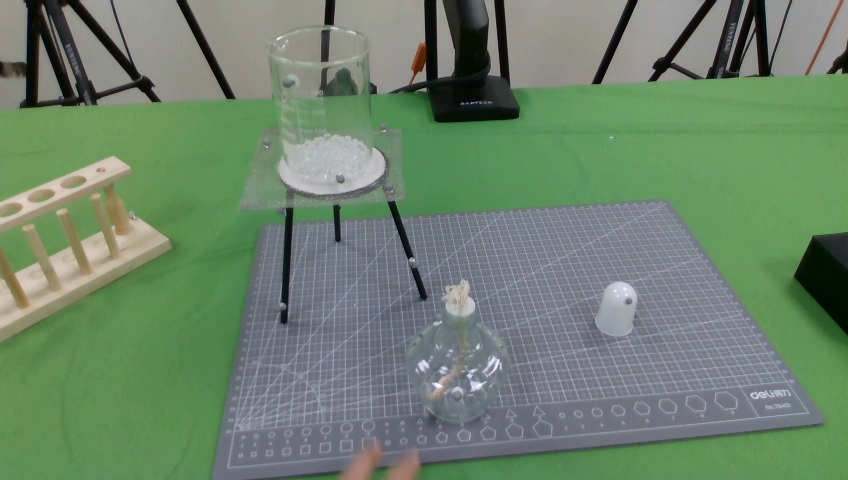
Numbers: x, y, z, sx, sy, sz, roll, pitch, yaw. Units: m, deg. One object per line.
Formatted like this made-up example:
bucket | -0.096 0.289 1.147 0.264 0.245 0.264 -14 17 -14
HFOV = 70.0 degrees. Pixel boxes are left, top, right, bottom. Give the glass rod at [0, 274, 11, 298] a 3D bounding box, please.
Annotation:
glass rod | -0.379 -0.034 0.501 0.008 0.201 0.008 1 30 0

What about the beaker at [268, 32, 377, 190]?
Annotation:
beaker | -0.076 -0.096 0.459 0.083 0.101 0.074 21 42 23

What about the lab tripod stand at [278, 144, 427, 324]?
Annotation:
lab tripod stand | -0.068 -0.006 0.530 0.148 0.132 0.147 1 37 -1

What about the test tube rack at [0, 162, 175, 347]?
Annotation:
test tube rack | -0.356 0.024 0.534 0.066 0.086 0.242 27 45 31

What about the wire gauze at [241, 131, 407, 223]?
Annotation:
wire gauze | -0.076 -0.056 0.487 0.121 0.011 0.124 -2 40 -3

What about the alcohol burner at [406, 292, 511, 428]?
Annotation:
alcohol burner | 0.026 0.080 0.436 0.078 0.120 0.077 1 40 0

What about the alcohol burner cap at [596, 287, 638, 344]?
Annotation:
alcohol burner cap | 0.167 0.062 0.519 0.034 0.048 0.033 0 39 0
